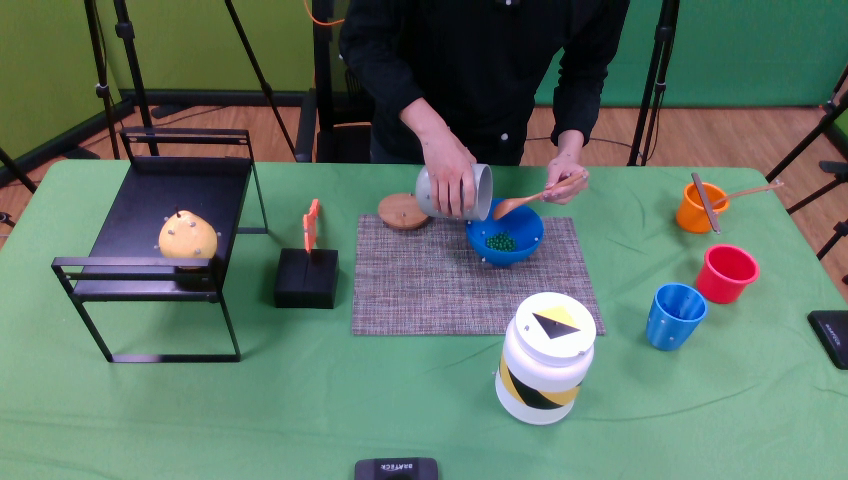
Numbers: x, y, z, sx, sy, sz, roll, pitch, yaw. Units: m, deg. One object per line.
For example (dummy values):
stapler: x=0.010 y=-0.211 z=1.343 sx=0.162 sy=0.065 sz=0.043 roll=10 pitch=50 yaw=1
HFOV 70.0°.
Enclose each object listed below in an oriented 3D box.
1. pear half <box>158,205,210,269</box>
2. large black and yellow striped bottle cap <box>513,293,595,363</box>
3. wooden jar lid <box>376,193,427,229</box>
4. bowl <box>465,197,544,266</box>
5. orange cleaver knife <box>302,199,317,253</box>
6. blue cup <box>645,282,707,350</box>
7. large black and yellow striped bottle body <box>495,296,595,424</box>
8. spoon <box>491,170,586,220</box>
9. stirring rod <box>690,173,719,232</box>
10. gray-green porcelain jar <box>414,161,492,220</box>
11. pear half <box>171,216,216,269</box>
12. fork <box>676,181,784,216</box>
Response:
pear half: x=-0.352 y=-0.015 z=0.872 sx=0.056 sy=0.110 sz=0.076 roll=26 pitch=46 yaw=20
large black and yellow striped bottle cap: x=0.186 y=0.123 z=0.863 sx=0.115 sy=0.019 sz=0.114 roll=3 pitch=45 yaw=-3
wooden jar lid: x=-0.044 y=-0.059 z=1.246 sx=0.108 sy=0.021 sz=0.107 roll=3 pitch=40 yaw=-3
bowl: x=0.150 y=-0.004 z=1.167 sx=0.151 sy=0.077 sz=0.150 roll=2 pitch=46 yaw=-2
orange cleaver knife: x=-0.219 y=-0.031 z=1.168 sx=0.012 sy=0.077 sz=0.210 roll=-5 pitch=17 yaw=-3
blue cup: x=0.425 y=0.136 z=1.042 sx=0.093 sy=0.101 sz=0.092 roll=1 pitch=44 yaw=-1
large black and yellow striped bottle body: x=0.183 y=0.182 z=0.923 sx=0.131 sy=0.185 sz=0.130 roll=2 pitch=46 yaw=-2
spoon: x=0.203 y=-0.083 z=1.099 sx=0.193 sy=0.022 sz=0.041 roll=-22 pitch=36 yaw=25
stirring rod: x=0.566 y=-0.079 z=1.225 sx=0.014 sy=0.006 sz=0.175 roll=2 pitch=45 yaw=2
gray-green porcelain jar: x=0.052 y=-0.093 z=1.130 sx=0.126 sy=0.106 sz=0.105 roll=5 pitch=44 yaw=20
pear half: x=-0.323 y=0.007 z=0.866 sx=0.031 sy=0.088 sz=0.070 roll=25 pitch=46 yaw=20
fork: x=0.618 y=-0.084 z=1.235 sx=0.207 sy=0.019 sz=0.028 roll=-23 pitch=20 yaw=38
